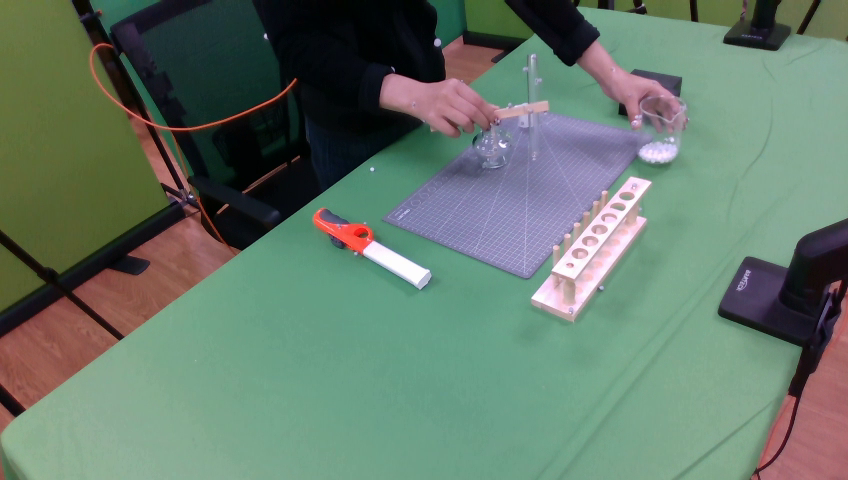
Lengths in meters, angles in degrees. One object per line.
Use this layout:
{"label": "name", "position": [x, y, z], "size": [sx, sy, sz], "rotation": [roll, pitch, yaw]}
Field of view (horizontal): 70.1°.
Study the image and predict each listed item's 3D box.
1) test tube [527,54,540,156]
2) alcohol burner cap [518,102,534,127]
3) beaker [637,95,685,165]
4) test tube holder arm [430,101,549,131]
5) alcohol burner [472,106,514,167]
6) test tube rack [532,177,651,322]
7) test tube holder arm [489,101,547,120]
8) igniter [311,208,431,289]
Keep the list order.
{"label": "test tube", "position": [0.165, -0.201, 0.905], "size": [0.017, 0.150, 0.017], "rotation": [-4, 15, 2]}
{"label": "alcohol burner cap", "position": [0.205, -0.255, 1.223], "size": [0.034, 0.048, 0.033], "rotation": [-6, 41, 6]}
{"label": "beaker", "position": [0.408, -0.186, 1.045], "size": [0.074, 0.101, 0.083], "rotation": [-8, 40, 5]}
{"label": "test tube holder arm", "position": [0.098, -0.185, 0.905], "size": [0.178, 0.015, 0.013], "rotation": [-10, 10, 2]}
{"label": "alcohol burner", "position": [0.126, -0.194, 1.111], "size": [0.078, 0.119, 0.077], "rotation": [-4, 42, 5]}
{"label": "test tube rack", "position": [0.248, 0.003, 0.883], "size": [0.066, 0.085, 0.243], "rotation": [22, 49, 32]}
{"label": "test tube holder arm", "position": [0.142, -0.195, 0.910], "size": [0.088, 0.015, 0.010], "rotation": [-11, 11, -5]}
{"label": "igniter", "position": [-0.096, 0.008, 0.985], "size": [0.274, 0.025, 0.057], "rotation": [28, 62, 36]}
